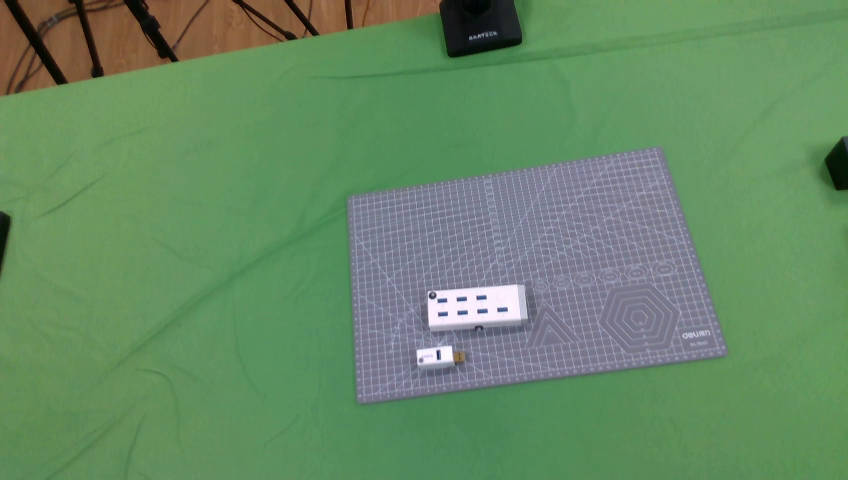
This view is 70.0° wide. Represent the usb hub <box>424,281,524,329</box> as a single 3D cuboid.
[{"bbox_3d":[0.063,0.082,0.769,0.125,0.025,0.049,-5,64,5],"label":"usb hub"}]

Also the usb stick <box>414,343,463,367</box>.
[{"bbox_3d":[0.019,0.141,0.747,0.059,0.027,0.021,-6,65,3],"label":"usb stick"}]
